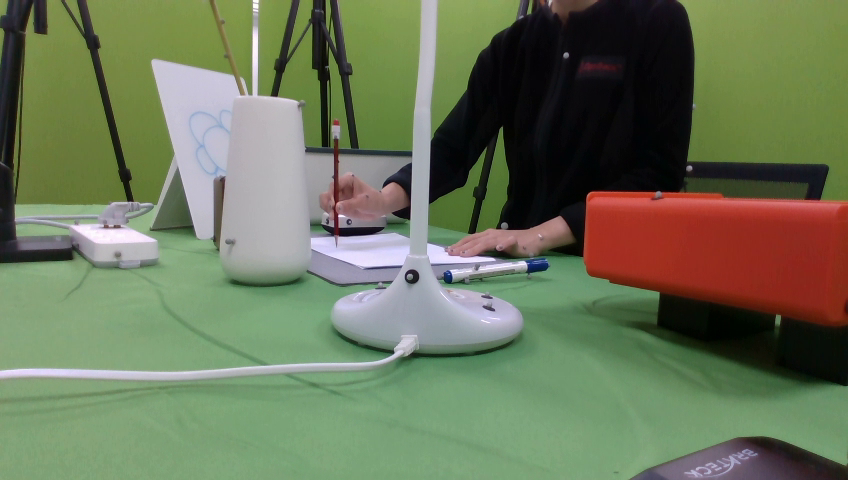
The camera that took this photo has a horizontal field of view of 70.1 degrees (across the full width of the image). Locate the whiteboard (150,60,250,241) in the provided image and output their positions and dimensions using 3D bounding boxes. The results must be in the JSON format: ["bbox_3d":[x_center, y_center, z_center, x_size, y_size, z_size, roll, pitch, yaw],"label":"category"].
[{"bbox_3d":[-0.408,-0.139,1.093,0.143,0.305,0.218,-15,-1,26],"label":"whiteboard"}]

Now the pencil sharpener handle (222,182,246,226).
[{"bbox_3d":[-0.289,-0.055,0.912,0.036,0.067,0.030,-3,9,-29],"label":"pencil sharpener handle"}]

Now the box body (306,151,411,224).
[{"bbox_3d":[-0.230,-0.126,1.370,0.366,0.160,0.253,-2,8,-33],"label":"box body"}]

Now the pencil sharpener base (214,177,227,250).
[{"bbox_3d":[-0.265,-0.036,0.870,0.061,0.107,0.076,-2,8,-29],"label":"pencil sharpener base"}]

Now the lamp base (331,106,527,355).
[{"bbox_3d":[0.006,-0.012,0.478,0.161,0.180,0.179,2,10,2],"label":"lamp base"}]

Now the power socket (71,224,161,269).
[{"bbox_3d":[-0.408,0.004,0.793,0.072,0.032,0.225,-2,8,-38],"label":"power socket"}]

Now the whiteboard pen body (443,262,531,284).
[{"bbox_3d":[0.087,0.038,0.734,0.141,0.017,0.017,-5,10,-27],"label":"whiteboard pen body"}]

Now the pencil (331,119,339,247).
[{"bbox_3d":[-0.135,-0.086,0.920,0.012,0.194,0.012,0,6,0],"label":"pencil"}]

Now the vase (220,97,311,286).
[{"bbox_3d":[-0.172,-0.052,0.662,0.098,0.200,0.098,3,8,0],"label":"vase"}]

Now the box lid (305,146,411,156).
[{"bbox_3d":[-0.229,-0.200,1.360,0.373,0.015,0.262,-3,9,-33],"label":"box lid"}]

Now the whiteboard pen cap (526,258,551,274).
[{"bbox_3d":[0.141,0.033,0.759,0.033,0.018,0.018,-7,11,-26],"label":"whiteboard pen cap"}]

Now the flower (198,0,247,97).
[{"bbox_3d":[-0.187,-0.133,0.648,0.038,0.362,0.044,-1,22,43],"label":"flower"}]

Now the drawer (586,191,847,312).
[{"bbox_3d":[0.281,0.001,0.512,0.195,0.073,0.210,-1,7,-29],"label":"drawer"}]

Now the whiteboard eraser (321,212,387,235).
[{"bbox_3d":[-0.128,-0.031,1.108,0.113,0.042,0.055,-3,8,-38],"label":"whiteboard eraser"}]

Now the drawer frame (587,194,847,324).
[{"bbox_3d":[0.285,0.004,0.508,0.203,0.082,0.212,-1,6,-30],"label":"drawer frame"}]

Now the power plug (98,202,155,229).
[{"bbox_3d":[-0.416,-0.027,0.848,0.073,0.052,0.035,0,8,-28],"label":"power plug"}]
